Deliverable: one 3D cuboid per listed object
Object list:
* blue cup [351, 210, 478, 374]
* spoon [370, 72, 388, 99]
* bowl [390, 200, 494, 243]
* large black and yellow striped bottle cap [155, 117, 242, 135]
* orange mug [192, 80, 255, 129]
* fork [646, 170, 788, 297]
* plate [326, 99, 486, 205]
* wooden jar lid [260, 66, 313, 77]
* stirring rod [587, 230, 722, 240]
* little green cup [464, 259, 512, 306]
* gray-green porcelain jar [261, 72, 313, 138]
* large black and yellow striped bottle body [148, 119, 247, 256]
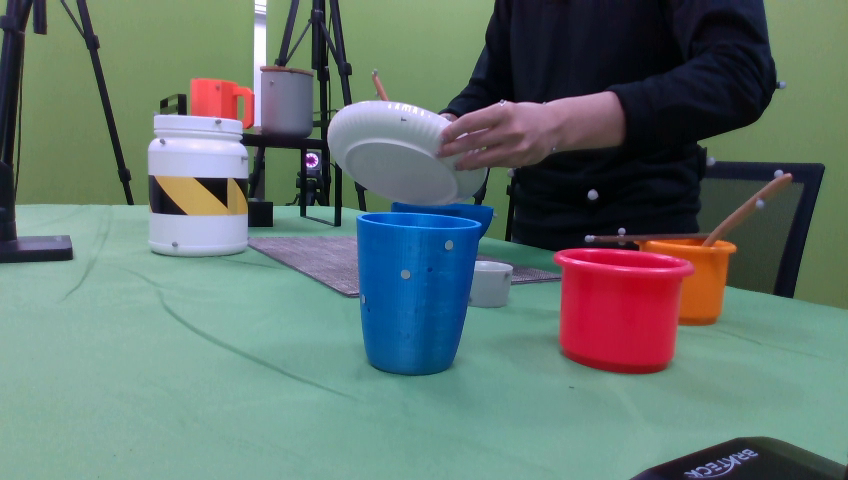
[{"bbox_3d":[-0.009,0.034,0.414,0.093,0.100,0.092,4,8,0],"label":"blue cup"},{"bbox_3d":[-0.040,-0.155,0.874,0.022,0.193,0.041,-17,-6,-7],"label":"spoon"},{"bbox_3d":[0.024,-0.015,0.874,0.151,0.077,0.151,2,9,0],"label":"bowl"},{"bbox_3d":[-0.313,-0.159,0.845,0.115,0.019,0.115,3,9,0],"label":"large black and yellow striped bottle cap"},{"bbox_3d":[-0.389,-0.257,1.172,0.126,0.100,0.083,-1,6,9],"label":"orange mug"},{"bbox_3d":[0.256,0.004,0.543,0.028,0.018,0.207,3,-36,-10],"label":"fork"},{"bbox_3d":[-0.027,-0.097,0.760,0.209,0.038,0.209,13,-23,6],"label":"plate"},{"bbox_3d":[-0.283,-0.339,1.244,0.108,0.020,0.108,6,9,-1],"label":"wooden jar lid"},{"bbox_3d":[0.227,-0.006,0.585,0.177,0.006,0.014,-2,7,-28],"label":"stirring rod"},{"bbox_3d":[0.057,0.043,0.611,0.061,0.038,0.061,3,8,0],"label":"little green cup"},{"bbox_3d":[-0.284,-0.276,1.253,0.106,0.126,0.106,2,8,0],"label":"gray-green porcelain jar"},{"bbox_3d":[-0.318,-0.076,0.855,0.131,0.184,0.130,2,7,0],"label":"large black and yellow striped bottle body"}]
